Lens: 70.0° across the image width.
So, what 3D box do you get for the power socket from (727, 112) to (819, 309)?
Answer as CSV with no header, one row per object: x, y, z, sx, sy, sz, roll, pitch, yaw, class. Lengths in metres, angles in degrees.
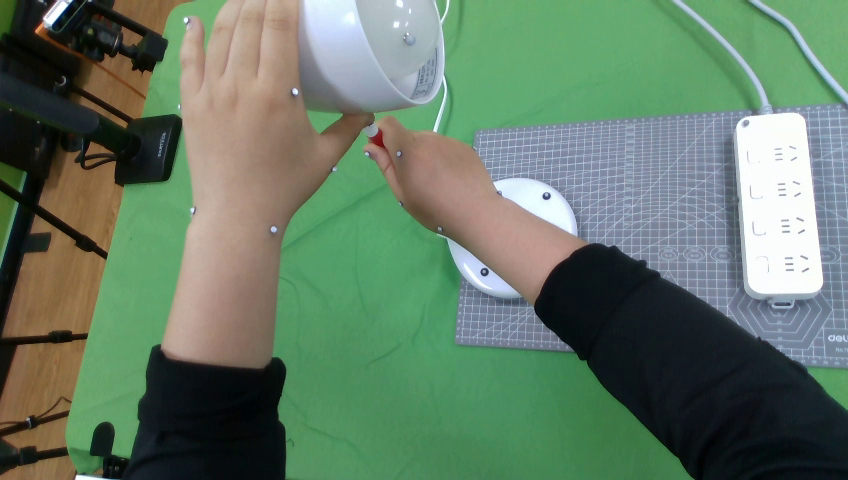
0.380,-0.039,0.664,0.072,0.033,0.225,-2,72,20,power socket

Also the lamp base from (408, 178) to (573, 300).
0.067,-0.026,0.698,0.178,0.182,0.159,-7,70,22,lamp base

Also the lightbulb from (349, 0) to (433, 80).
-0.045,-0.132,0.395,0.107,0.060,0.059,0,72,29,lightbulb

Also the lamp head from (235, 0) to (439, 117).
-0.063,-0.131,0.413,0.122,0.113,0.111,-12,68,33,lamp head
